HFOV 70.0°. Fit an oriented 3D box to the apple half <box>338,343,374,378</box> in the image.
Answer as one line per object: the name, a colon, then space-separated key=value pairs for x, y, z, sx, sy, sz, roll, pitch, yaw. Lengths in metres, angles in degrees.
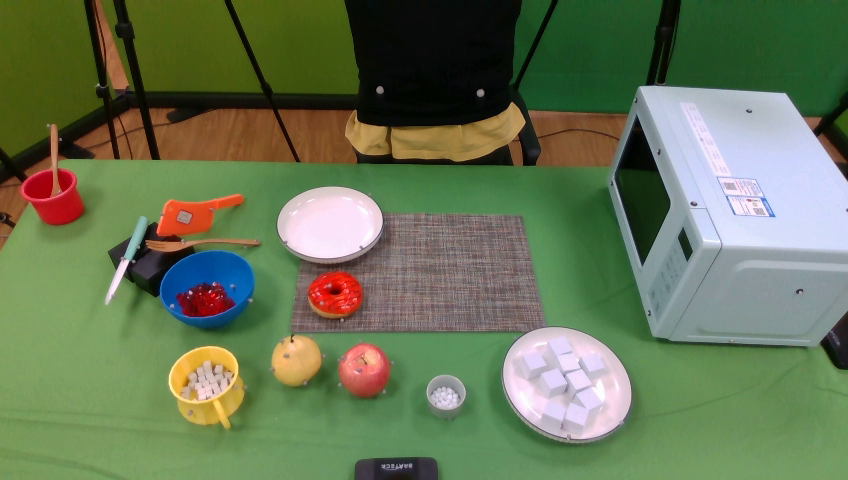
apple half: x=-0.112 y=0.192 z=0.968 sx=0.081 sy=0.081 sz=0.032 roll=-32 pitch=59 yaw=-29

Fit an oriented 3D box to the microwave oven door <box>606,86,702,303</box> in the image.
microwave oven door: x=0.423 y=-0.094 z=1.140 sx=0.039 sy=0.245 sz=0.353 roll=2 pitch=46 yaw=-1

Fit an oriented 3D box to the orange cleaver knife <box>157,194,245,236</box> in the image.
orange cleaver knife: x=-0.427 y=-0.051 z=1.175 sx=0.012 sy=0.077 sz=0.211 roll=23 pitch=20 yaw=20

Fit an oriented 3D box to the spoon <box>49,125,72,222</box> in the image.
spoon: x=-0.717 y=-0.131 z=1.189 sx=0.041 sy=0.021 sz=0.193 roll=-3 pitch=90 yaw=-7

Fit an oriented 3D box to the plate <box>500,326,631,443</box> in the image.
plate: x=0.224 y=0.233 z=0.978 sx=0.208 sy=0.039 sz=0.206 roll=2 pitch=46 yaw=-2

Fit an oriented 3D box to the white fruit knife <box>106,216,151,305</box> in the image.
white fruit knife: x=-0.519 y=0.032 z=1.066 sx=0.027 sy=0.016 sz=0.206 roll=-18 pitch=45 yaw=19

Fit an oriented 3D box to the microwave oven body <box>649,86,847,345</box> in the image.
microwave oven body: x=0.567 y=-0.053 z=1.118 sx=0.326 sy=0.261 sz=0.439 roll=2 pitch=45 yaw=-1

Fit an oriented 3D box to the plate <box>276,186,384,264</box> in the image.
plate: x=-0.184 y=-0.027 z=1.195 sx=0.209 sy=0.038 sz=0.208 roll=2 pitch=46 yaw=-2

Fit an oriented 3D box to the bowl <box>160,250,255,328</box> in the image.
bowl: x=-0.362 y=0.097 z=1.040 sx=0.151 sy=0.077 sz=0.150 roll=2 pitch=45 yaw=-2

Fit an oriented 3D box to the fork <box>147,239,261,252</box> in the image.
fork: x=-0.399 y=0.007 z=1.118 sx=0.208 sy=0.019 sz=0.028 roll=-4 pitch=34 yaw=-37

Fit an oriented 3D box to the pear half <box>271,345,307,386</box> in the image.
pear half: x=-0.216 y=0.200 z=0.943 sx=0.070 sy=0.088 sz=0.031 roll=27 pitch=49 yaw=15

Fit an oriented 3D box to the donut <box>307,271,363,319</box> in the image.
donut: x=-0.157 y=0.097 z=1.073 sx=0.099 sy=0.048 sz=0.098 roll=4 pitch=45 yaw=-3

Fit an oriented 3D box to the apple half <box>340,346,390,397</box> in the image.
apple half: x=-0.085 y=0.214 z=0.950 sx=0.081 sy=0.075 sz=0.053 roll=-29 pitch=58 yaw=-32

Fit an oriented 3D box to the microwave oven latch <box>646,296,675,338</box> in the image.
microwave oven latch: x=0.411 y=0.134 z=1.060 sx=0.030 sy=0.029 sz=0.078 roll=4 pitch=45 yaw=1

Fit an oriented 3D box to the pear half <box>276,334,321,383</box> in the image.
pear half: x=-0.195 y=0.172 z=0.957 sx=0.076 sy=0.110 sz=0.056 roll=27 pitch=51 yaw=16

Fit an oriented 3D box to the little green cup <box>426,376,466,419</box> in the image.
little green cup: x=0.033 y=0.248 z=0.950 sx=0.061 sy=0.039 sz=0.061 roll=2 pitch=46 yaw=-2

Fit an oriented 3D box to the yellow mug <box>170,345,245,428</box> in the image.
yellow mug: x=-0.322 y=0.230 z=0.922 sx=0.100 sy=0.064 sz=0.130 roll=-24 pitch=53 yaw=-25
